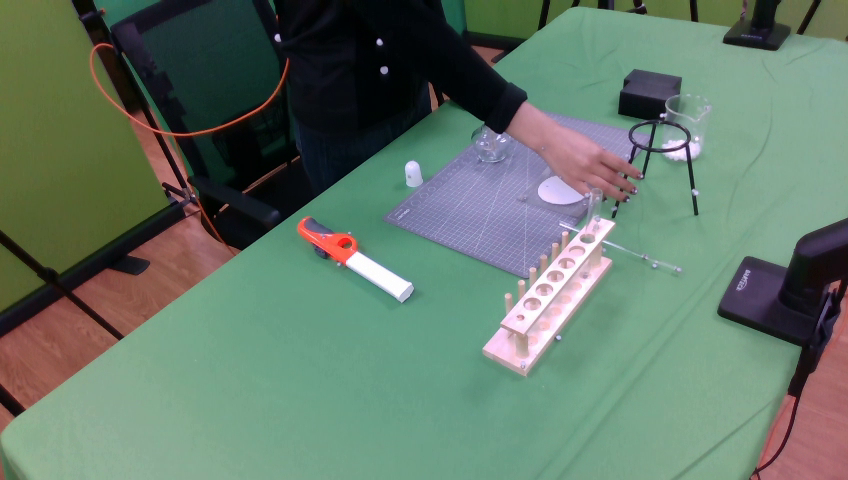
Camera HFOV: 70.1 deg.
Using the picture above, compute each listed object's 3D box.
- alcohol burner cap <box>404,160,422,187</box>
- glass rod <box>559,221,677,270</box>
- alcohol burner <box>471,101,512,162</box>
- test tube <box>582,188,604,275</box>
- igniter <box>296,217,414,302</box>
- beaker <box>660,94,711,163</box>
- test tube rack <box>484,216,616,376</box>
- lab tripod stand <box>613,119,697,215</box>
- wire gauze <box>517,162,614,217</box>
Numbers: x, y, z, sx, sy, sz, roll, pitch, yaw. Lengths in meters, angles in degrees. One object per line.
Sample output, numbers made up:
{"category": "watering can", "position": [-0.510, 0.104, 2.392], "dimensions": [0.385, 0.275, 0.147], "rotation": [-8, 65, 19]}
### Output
{"category": "alcohol burner cap", "position": [-0.022, -0.125, 1.118], "dimensions": [0.034, 0.048, 0.033], "rotation": [-4, 40, 4]}
{"category": "glass rod", "position": [0.292, 0.007, 0.927], "dimensions": [0.198, 0.008, 0.008], "rotation": [26, 52, 36]}
{"category": "alcohol burner", "position": [0.125, -0.206, 1.126], "dimensions": [0.078, 0.119, 0.077], "rotation": [-5, 43, 5]}
{"category": "test tube", "position": [0.229, -0.007, 0.821], "dimensions": [0.017, 0.151, 0.017], "rotation": [-3, 41, 3]}
{"category": "igniter", "position": [-0.121, 0.025, 0.970], "dimensions": [0.274, 0.025, 0.057], "rotation": [29, 63, 37]}
{"category": "beaker", "position": [0.457, -0.192, 1.063], "dimensions": [0.074, 0.101, 0.083], "rotation": [-7, 41, 4]}
{"category": "test tube rack", "position": [0.174, 0.064, 0.823], "dimensions": [0.066, 0.085, 0.243], "rotation": [23, 49, 32]}
{"category": "lab tripod stand", "position": [0.369, -0.112, 0.958], "dimensions": [0.148, 0.132, 0.147], "rotation": [-4, 40, 4]}
{"category": "wire gauze", "position": [0.245, -0.088, 1.046], "dimensions": [0.120, 0.011, 0.125], "rotation": [25, 50, 32]}
